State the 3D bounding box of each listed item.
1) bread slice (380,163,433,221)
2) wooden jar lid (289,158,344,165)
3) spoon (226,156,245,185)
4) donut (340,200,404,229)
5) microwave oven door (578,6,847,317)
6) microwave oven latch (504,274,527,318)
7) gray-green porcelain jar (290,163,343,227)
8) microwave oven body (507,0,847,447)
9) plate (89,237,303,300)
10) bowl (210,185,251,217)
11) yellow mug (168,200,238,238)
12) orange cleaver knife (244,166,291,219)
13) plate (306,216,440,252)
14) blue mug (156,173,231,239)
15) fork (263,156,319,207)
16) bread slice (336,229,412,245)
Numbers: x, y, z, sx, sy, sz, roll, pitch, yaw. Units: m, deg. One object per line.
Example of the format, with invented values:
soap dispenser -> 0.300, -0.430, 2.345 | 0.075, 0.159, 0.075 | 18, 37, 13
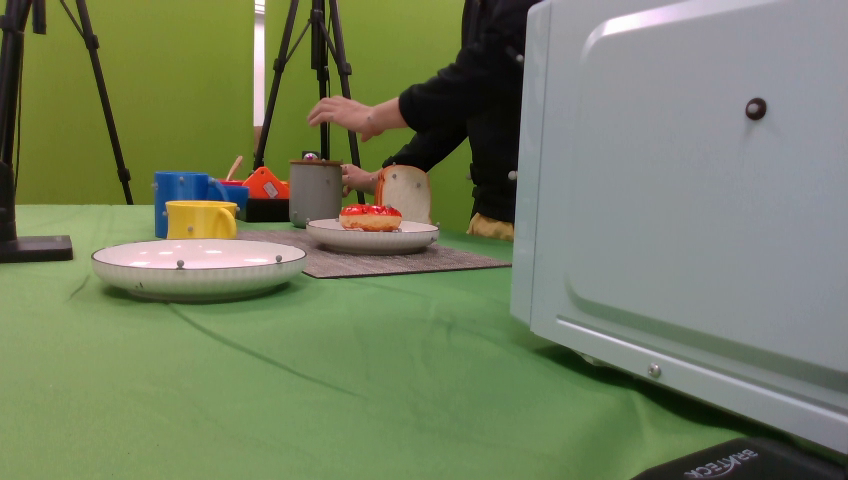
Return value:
bread slice -> -0.035, -0.076, 1.125 | 0.107, 0.134, 0.018 | -4, 1, -25
wooden jar lid -> -0.215, -0.153, 1.212 | 0.108, 0.020, 0.108 | 2, 5, 0
spoon -> -0.477, -0.145, 1.492 | 0.041, 0.022, 0.193 | -1, 51, 13
donut -> -0.081, -0.038, 0.944 | 0.099, 0.048, 0.099 | 1, 5, 0
microwave oven door -> 0.294, -0.067, 0.570 | 0.358, 0.243, 0.039 | -3, 9, -31
microwave oven latch -> 0.100, 0.041, 0.471 | 0.079, 0.029, 0.030 | -1, 8, -28
gray-green porcelain jar -> -0.217, -0.091, 1.221 | 0.106, 0.126, 0.106 | 2, 7, 0
microwave oven body -> 0.331, -0.042, 0.425 | 0.444, 0.260, 0.324 | -2, 8, -31
plate -> -0.233, 0.029, 0.637 | 0.208, 0.039, 0.207 | 2, 7, 0
bowl -> -0.408, -0.064, 1.155 | 0.151, 0.077, 0.151 | 2, 8, 0
yellow mug -> -0.320, -0.023, 0.904 | 0.130, 0.064, 0.100 | 9, 10, 36
orange cleaver knife -> -0.301, -0.089, 1.351 | 0.212, 0.077, 0.012 | 32, -11, -34
plate -> -0.079, -0.011, 0.950 | 0.209, 0.038, 0.209 | 2, 8, 0
blue mug -> -0.381, -0.057, 1.004 | 0.117, 0.106, 0.082 | 1, 8, -12
fork -> -0.331, -0.144, 1.506 | 0.207, 0.018, 0.028 | -42, -20, 22
bread slice -> -0.074, -0.006, 0.938 | 0.105, 0.019, 0.131 | -2, 4, -18
